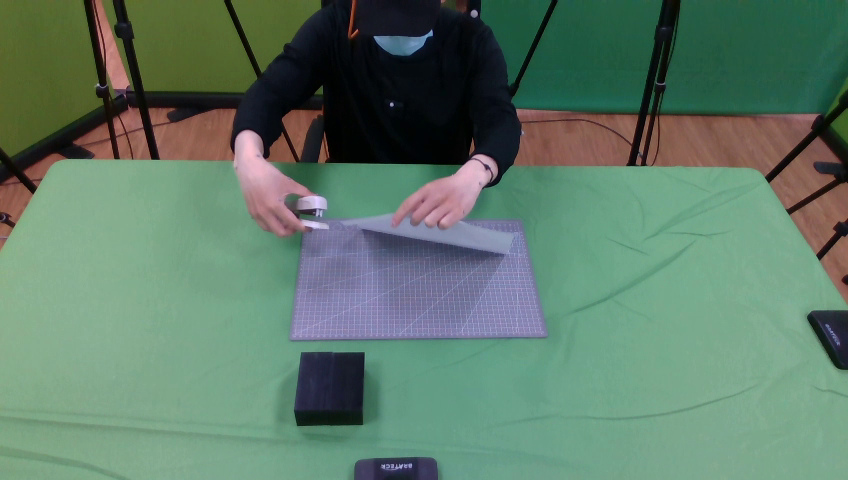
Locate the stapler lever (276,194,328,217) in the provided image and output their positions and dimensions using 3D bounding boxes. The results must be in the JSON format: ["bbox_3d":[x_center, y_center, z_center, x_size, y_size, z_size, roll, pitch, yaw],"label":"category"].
[{"bbox_3d":[-0.222,-0.067,1.107,0.117,0.040,0.027,9,-2,36],"label":"stapler lever"}]

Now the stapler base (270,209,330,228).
[{"bbox_3d":[-0.225,-0.043,1.106,0.130,0.041,0.024,8,87,36],"label":"stapler base"}]
